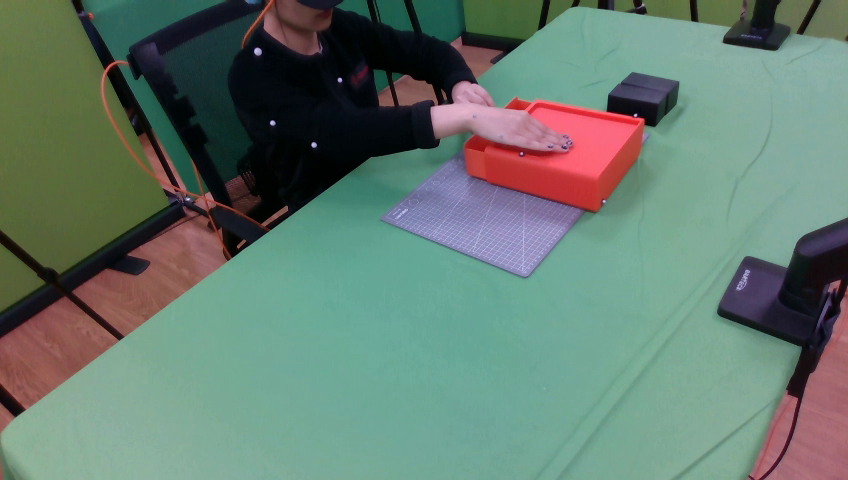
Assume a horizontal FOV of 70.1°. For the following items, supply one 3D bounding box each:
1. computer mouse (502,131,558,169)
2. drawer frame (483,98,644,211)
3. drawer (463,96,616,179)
[{"bbox_3d":[0.197,-0.175,1.122,0.062,0.041,0.117,19,43,34],"label":"computer mouse"},{"bbox_3d":[0.247,-0.159,1.071,0.212,0.083,0.202,20,47,29],"label":"drawer frame"},{"bbox_3d":[0.210,-0.172,1.094,0.210,0.073,0.195,20,47,30],"label":"drawer"}]
